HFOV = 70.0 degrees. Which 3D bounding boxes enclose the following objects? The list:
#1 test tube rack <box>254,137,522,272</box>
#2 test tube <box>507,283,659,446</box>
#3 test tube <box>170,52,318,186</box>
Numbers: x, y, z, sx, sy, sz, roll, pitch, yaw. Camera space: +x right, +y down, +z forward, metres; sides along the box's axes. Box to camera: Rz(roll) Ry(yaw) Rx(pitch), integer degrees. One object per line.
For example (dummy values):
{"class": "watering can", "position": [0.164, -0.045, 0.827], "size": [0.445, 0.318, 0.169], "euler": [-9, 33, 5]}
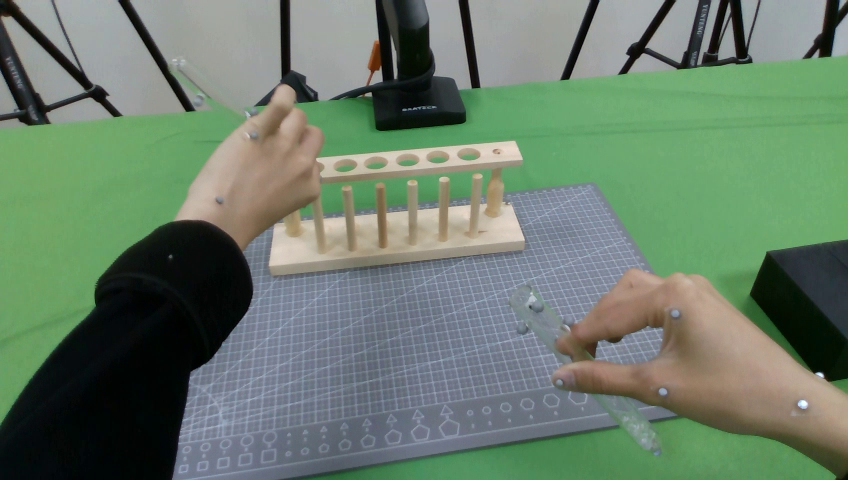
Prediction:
{"class": "test tube rack", "position": [-0.030, -0.035, 0.575], "size": [0.242, 0.086, 0.066], "euler": [-6, 40, -4]}
{"class": "test tube", "position": [0.096, 0.076, 0.351], "size": [0.017, 0.151, 0.017], "euler": [-34, 26, 20]}
{"class": "test tube", "position": [-0.134, -0.089, 0.470], "size": [0.017, 0.152, 0.017], "euler": [-18, 51, 25]}
